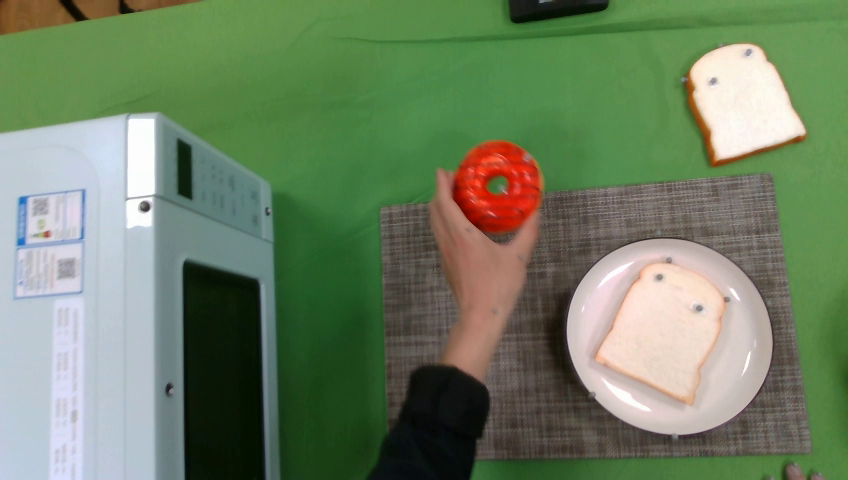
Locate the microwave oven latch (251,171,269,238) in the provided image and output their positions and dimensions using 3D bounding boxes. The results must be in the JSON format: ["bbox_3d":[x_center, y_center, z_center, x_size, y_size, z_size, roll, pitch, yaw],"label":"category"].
[{"bbox_3d":[-0.207,-0.042,0.736,0.030,0.029,0.079,-6,81,8],"label":"microwave oven latch"}]

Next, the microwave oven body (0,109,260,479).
[{"bbox_3d":[-0.355,0.131,0.634,0.326,0.261,0.440,-6,81,8],"label":"microwave oven body"}]

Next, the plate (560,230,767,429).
[{"bbox_3d":[0.251,0.094,0.652,0.207,0.039,0.207,-1,81,9],"label":"plate"}]

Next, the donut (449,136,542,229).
[{"bbox_3d":[0.075,-0.060,0.636,0.099,0.048,0.098,-2,82,16],"label":"donut"}]

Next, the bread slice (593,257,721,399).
[{"bbox_3d":[0.253,0.087,0.653,0.106,0.018,0.134,21,85,12],"label":"bread slice"}]

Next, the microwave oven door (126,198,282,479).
[{"bbox_3d":[-0.209,0.156,0.600,0.039,0.245,0.354,-7,80,9],"label":"microwave oven door"}]

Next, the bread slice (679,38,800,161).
[{"bbox_3d":[0.352,-0.165,0.691,0.105,0.019,0.131,-18,80,5],"label":"bread slice"}]
